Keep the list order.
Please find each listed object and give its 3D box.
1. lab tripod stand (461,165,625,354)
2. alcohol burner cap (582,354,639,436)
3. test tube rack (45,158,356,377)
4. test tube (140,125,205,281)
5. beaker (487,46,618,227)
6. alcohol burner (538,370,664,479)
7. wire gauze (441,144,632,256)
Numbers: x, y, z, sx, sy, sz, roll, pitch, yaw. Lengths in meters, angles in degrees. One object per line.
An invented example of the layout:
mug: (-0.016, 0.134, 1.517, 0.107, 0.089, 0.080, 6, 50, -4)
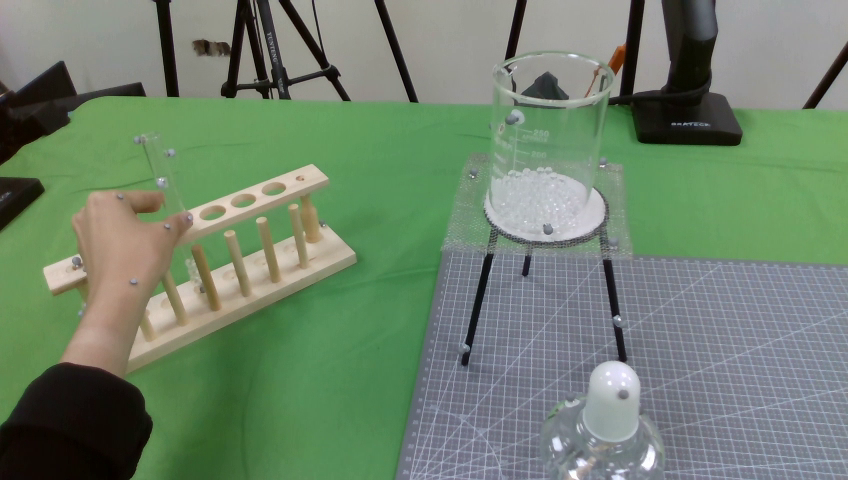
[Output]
lab tripod stand: (0.094, 0.020, 0.474, 0.148, 0.132, 0.147, -1, 39, 1)
alcohol burner cap: (0.110, 0.087, 0.351, 0.034, 0.048, 0.033, -4, 39, 4)
test tube rack: (-0.186, 0.017, 0.544, 0.242, 0.086, 0.066, -26, 44, -25)
test tube: (-0.211, -0.026, 0.519, 0.017, 0.151, 0.017, -3, 34, 3)
beaker: (0.077, -0.066, 0.399, 0.074, 0.101, 0.083, -29, 47, -29)
alcohol burner: (0.111, 0.114, 0.374, 0.078, 0.120, 0.077, -2, 41, 2)
wire gauze: (0.082, -0.030, 0.432, 0.121, 0.011, 0.124, 5, 43, 10)
